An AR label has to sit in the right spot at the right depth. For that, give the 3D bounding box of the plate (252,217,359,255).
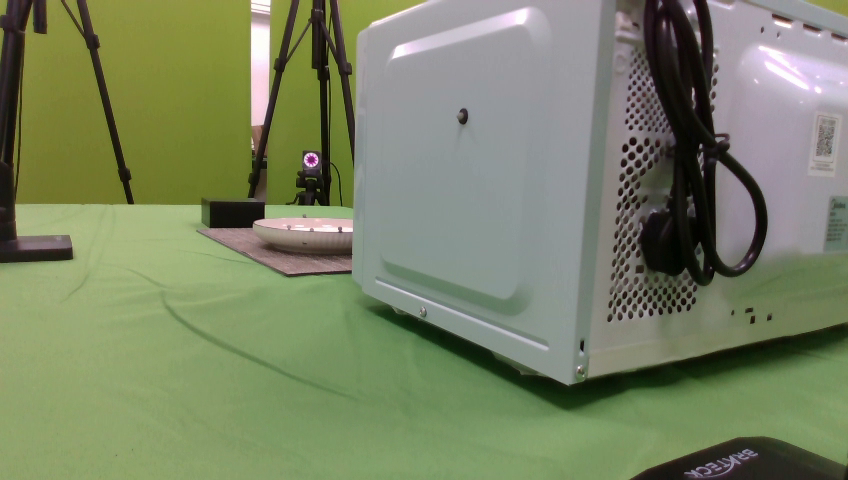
[{"bbox_3d":[-0.155,-0.007,0.924,0.209,0.038,0.209,3,7,0],"label":"plate"}]

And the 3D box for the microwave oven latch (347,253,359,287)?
[{"bbox_3d":[-0.034,0.028,0.581,0.079,0.029,0.030,-1,7,-31],"label":"microwave oven latch"}]

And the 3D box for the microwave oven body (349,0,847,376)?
[{"bbox_3d":[0.199,-0.053,0.540,0.444,0.260,0.324,-1,7,-32],"label":"microwave oven body"}]

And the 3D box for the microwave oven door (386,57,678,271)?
[{"bbox_3d":[0.136,-0.087,0.743,0.357,0.243,0.039,1,8,-11],"label":"microwave oven door"}]

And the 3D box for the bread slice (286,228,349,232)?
[{"bbox_3d":[-0.153,-0.005,0.921,0.132,0.019,0.104,-1,8,-30],"label":"bread slice"}]
